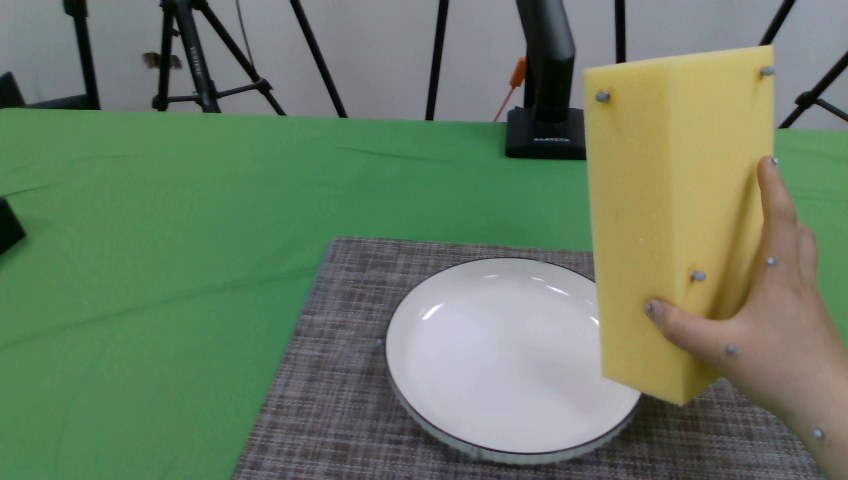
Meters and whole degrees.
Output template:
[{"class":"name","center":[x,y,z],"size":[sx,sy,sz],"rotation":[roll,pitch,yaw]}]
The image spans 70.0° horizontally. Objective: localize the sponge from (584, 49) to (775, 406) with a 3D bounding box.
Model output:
[{"class":"sponge","center":[0.172,-0.013,0.400],"size":[0.118,0.208,0.060],"rotation":[-20,20,-34]}]

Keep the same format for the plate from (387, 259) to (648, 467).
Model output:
[{"class":"plate","center":[0.074,0.095,0.491],"size":[0.207,0.039,0.205],"rotation":[-1,38,2]}]
